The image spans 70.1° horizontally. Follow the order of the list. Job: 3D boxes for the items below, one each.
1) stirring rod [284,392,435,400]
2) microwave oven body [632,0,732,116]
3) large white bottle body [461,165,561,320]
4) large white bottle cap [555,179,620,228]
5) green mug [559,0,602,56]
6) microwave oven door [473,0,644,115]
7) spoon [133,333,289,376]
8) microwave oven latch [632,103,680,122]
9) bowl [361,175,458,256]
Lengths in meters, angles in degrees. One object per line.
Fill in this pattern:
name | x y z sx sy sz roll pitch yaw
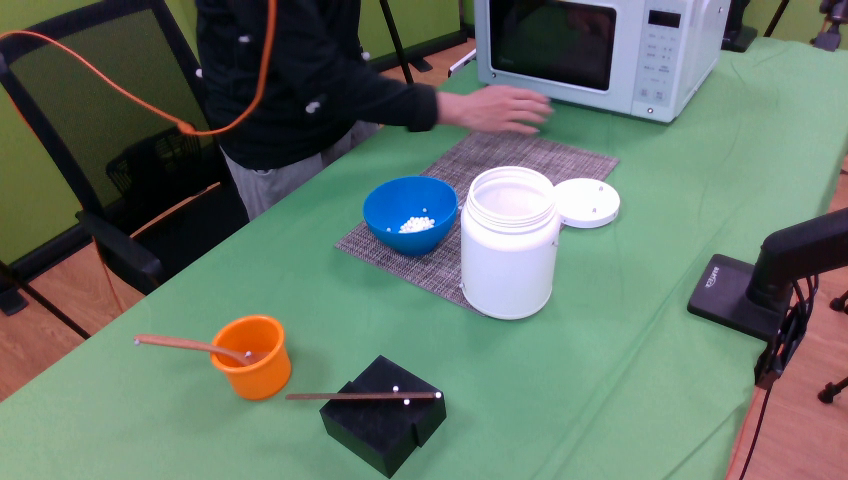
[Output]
stirring rod | -0.075 0.180 0.698 0.176 0.006 0.014 -2 6 7
microwave oven body | 0.377 -0.463 1.267 0.438 0.261 0.327 21 48 30
large white bottle body | 0.115 0.004 0.815 0.130 0.185 0.130 -2 43 2
large white bottle cap | 0.265 -0.062 1.001 0.115 0.018 0.114 -4 41 4
green mug | 0.332 -0.451 1.294 0.092 0.105 0.125 10 48 21
microwave oven door | 0.257 -0.396 1.199 0.353 0.245 0.039 21 48 29
spoon | -0.257 0.137 0.747 0.021 0.195 0.041 -46 40 23
microwave oven latch | 0.443 -0.249 1.157 0.078 0.029 0.030 20 48 29
bowl | -0.019 -0.028 0.955 0.151 0.077 0.150 -4 40 4
